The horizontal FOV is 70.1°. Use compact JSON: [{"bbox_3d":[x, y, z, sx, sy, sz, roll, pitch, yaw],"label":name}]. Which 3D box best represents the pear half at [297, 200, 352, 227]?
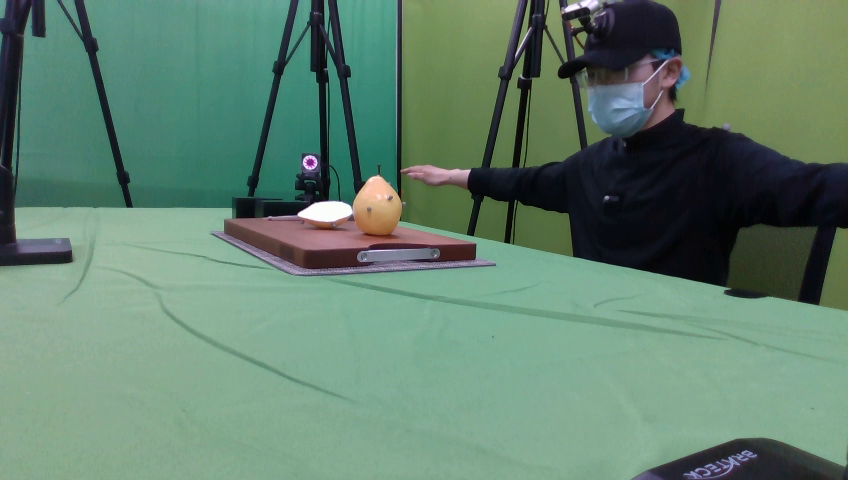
[{"bbox_3d":[-0.163,-0.038,0.996,0.088,0.031,0.070,-13,26,-15],"label":"pear half"}]

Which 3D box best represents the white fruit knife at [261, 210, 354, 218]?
[{"bbox_3d":[-0.199,-0.047,1.123,0.208,0.016,0.027,-3,-6,-31],"label":"white fruit knife"}]

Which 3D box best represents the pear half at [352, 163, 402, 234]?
[{"bbox_3d":[-0.065,-0.063,0.921,0.077,0.110,0.055,-8,12,-39],"label":"pear half"}]
